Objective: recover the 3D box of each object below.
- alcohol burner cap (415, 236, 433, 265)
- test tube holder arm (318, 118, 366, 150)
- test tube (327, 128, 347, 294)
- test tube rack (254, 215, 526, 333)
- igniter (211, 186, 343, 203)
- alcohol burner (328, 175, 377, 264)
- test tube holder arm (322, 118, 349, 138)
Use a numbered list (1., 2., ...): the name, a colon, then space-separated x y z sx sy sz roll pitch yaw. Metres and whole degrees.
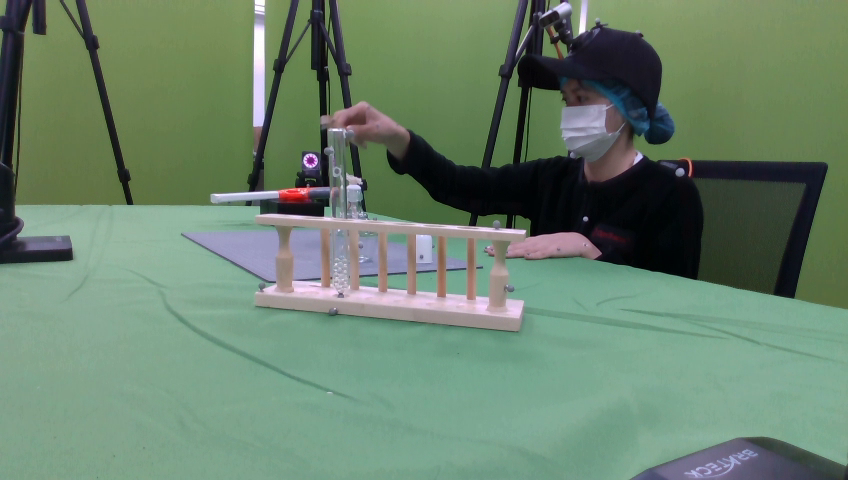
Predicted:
1. alcohol burner cap: -0.004 0.011 0.835 0.034 0.048 0.034 2 7 0
2. test tube holder arm: -0.141 -0.185 1.064 0.013 0.015 0.179 4 -3 16
3. test tube: -0.079 -0.025 0.545 0.017 0.150 0.017 0 9 0
4. test tube rack: -0.030 0.025 0.558 0.242 0.085 0.067 4 7 12
5. igniter: -0.300 -0.095 1.266 0.278 0.025 0.057 -6 12 -34
6. alcohol burner: -0.098 -0.028 0.819 0.078 0.119 0.078 1 8 0
7. test tube holder arm: -0.148 -0.188 1.019 0.010 0.015 0.088 4 -3 16
